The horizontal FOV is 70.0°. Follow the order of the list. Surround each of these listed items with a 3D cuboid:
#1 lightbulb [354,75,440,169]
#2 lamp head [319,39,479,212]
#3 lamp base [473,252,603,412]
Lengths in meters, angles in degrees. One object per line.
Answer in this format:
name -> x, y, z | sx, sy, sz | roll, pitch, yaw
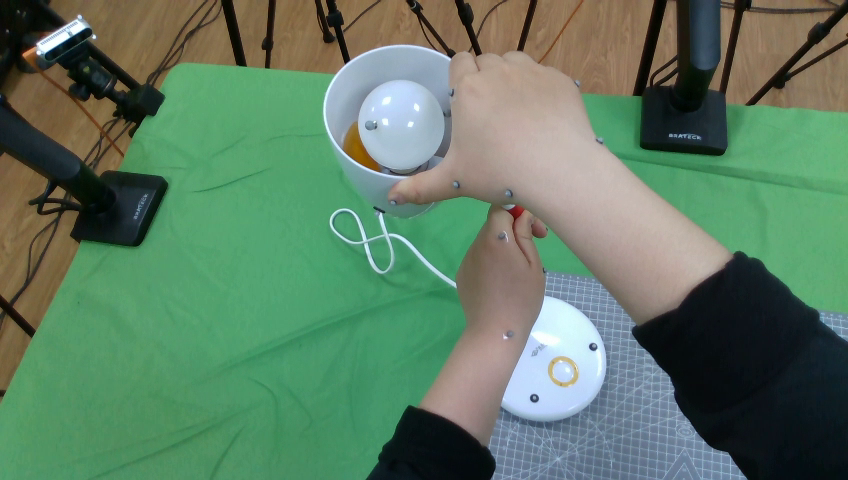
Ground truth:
lightbulb -> -0.017, -0.074, 0.441 | 0.059, 0.108, 0.059 | -1, 67, 3
lamp head -> -0.014, -0.072, 0.467 | 0.112, 0.124, 0.111 | -2, 66, 4
lamp base -> 0.122, 0.091, 0.693 | 0.178, 0.182, 0.160 | 32, 70, 24
